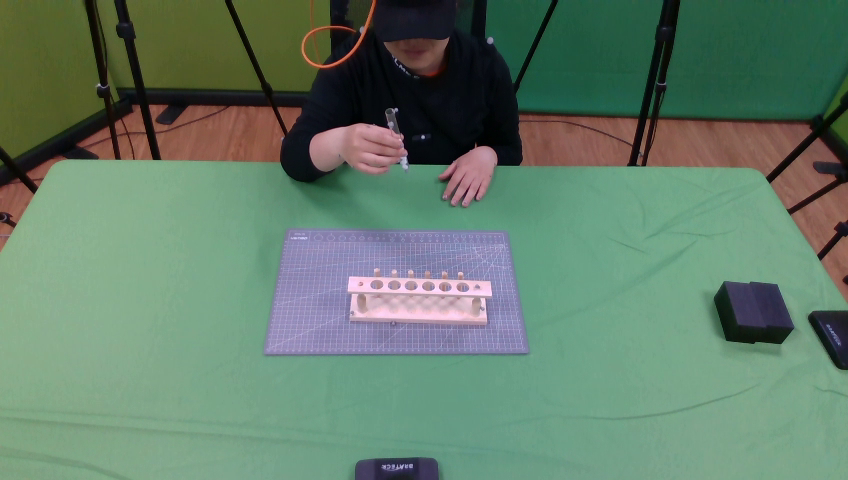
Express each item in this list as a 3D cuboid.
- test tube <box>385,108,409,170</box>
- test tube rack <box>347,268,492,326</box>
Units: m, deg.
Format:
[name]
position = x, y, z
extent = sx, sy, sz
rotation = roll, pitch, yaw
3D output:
[test tube]
position = -0.046, -0.173, 1.061
extent = 0.017, 0.151, 0.017
rotation = -5, 57, 8
[test tube rack]
position = -0.009, 0.095, 1.059
extent = 0.242, 0.085, 0.066
rotation = 2, 46, -2
